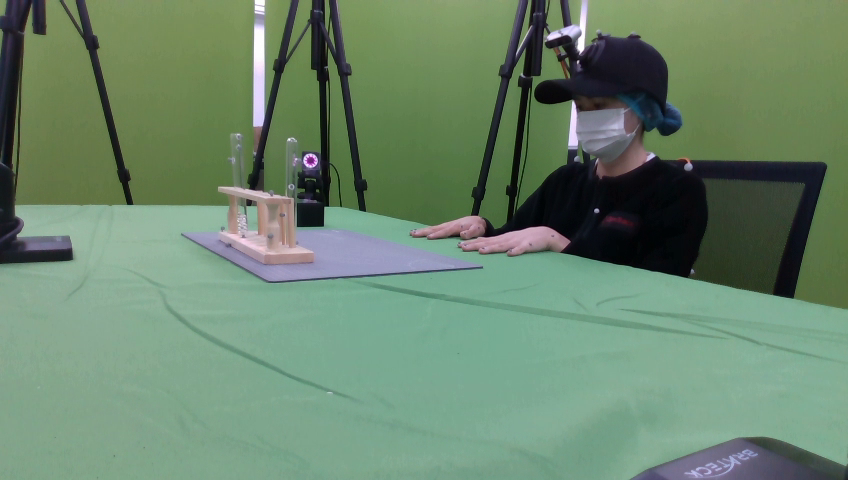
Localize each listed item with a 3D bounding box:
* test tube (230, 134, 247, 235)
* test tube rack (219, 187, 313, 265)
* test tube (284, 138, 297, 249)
[{"bbox_3d":[-0.273,-0.081,0.893,0.017,0.150,0.017,-1,9,0],"label":"test tube"},{"bbox_3d":[-0.235,-0.027,0.872,0.067,0.085,0.241,-2,8,-31],"label":"test tube rack"},{"bbox_3d":[-0.181,-0.062,0.816,0.017,0.150,0.017,2,7,0],"label":"test tube"}]
